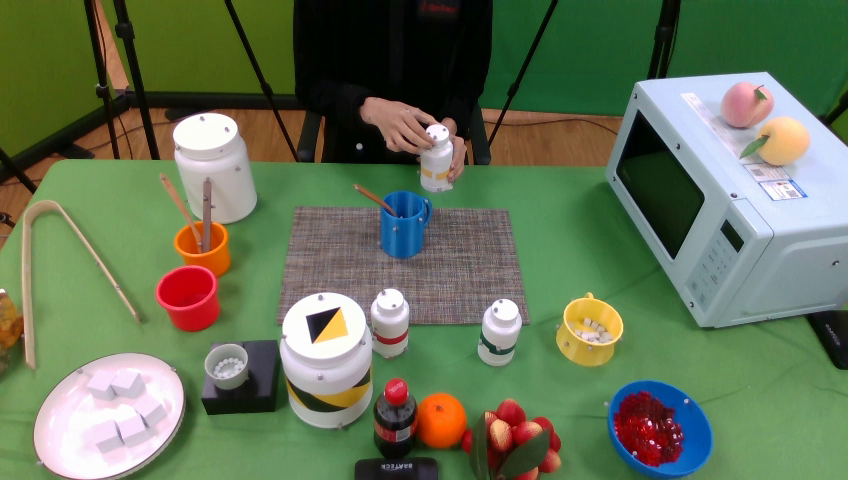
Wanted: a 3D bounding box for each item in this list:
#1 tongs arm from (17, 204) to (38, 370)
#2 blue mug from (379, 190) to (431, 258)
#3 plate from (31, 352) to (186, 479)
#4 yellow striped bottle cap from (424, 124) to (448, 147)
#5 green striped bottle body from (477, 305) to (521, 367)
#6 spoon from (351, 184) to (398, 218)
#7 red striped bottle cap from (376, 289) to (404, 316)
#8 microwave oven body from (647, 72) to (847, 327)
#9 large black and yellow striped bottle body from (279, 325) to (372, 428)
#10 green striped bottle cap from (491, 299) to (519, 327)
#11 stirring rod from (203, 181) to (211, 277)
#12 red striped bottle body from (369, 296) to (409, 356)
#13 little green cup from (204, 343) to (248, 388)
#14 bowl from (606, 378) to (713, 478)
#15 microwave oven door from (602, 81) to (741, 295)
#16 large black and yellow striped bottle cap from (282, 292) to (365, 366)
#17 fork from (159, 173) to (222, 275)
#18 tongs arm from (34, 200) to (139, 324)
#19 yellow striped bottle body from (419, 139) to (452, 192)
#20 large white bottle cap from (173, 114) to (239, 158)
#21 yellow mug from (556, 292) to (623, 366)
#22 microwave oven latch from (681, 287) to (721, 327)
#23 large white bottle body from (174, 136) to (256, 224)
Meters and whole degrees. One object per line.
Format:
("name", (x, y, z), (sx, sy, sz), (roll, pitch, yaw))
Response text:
("tongs arm", (-0.698, 0.069, 1.068), (0.028, 0.028, 0.385), (-20, 50, -13))
("blue mug", (-0.032, -0.037, 1.169), (0.116, 0.106, 0.082), (-29, 55, -28))
("plate", (-0.459, 0.262, 0.898), (0.209, 0.038, 0.208), (2, 46, -2))
("yellow striped bottle cap", (0.023, -0.192, 1.117), (0.044, 0.019, 0.044), (1, 54, -1))
("green striped bottle body", (0.124, 0.151, 0.995), (0.063, 0.120, 0.063), (2, 46, -1))
("spoon", (-0.070, -0.056, 1.124), (0.021, 0.195, 0.041), (-34, 47, 13))
("red striped bottle cap", (-0.054, 0.098, 0.958), (0.044, 0.018, 0.044), (0, 48, 0))
("microwave oven body", (0.607, -0.089, 1.164), (0.326, 0.261, 0.438), (-7, 46, -10))
("large black and yellow striped bottle body", (-0.143, 0.181, 0.900), (0.131, 0.185, 0.130), (2, 46, -2))
("green striped bottle cap", (0.128, 0.115, 0.958), (0.044, 0.020, 0.044), (1, 46, 0))
("stirring rod", (-0.396, -0.021, 1.107), (0.014, 0.006, 0.176), (-1, 89, -1))
("red striped bottle body", (-0.058, 0.134, 0.997), (0.063, 0.120, 0.062), (4, 47, -4))
("little green cup", (-0.294, 0.190, 0.909), (0.061, 0.039, 0.061), (1, 48, -1))
("bowl", (0.340, 0.292, 0.906), (0.151, 0.077, 0.150), (2, 46, -2))
("microwave oven door", (0.456, -0.107, 1.162), (0.039, 0.245, 0.353), (-7, 47, -11))
("large black and yellow striped bottle cap", (-0.138, 0.121, 0.841), (0.115, 0.019, 0.114), (3, 47, -3))
("fork", (-0.427, -0.029, 1.103), (0.028, 0.018, 0.207), (-31, 99, -30))
("tongs arm", (-0.622, 0.034, 1.105), (0.051, 0.026, 0.382), (-32, 55, -26))
("yellow striped bottle body", (0.022, -0.154, 1.164), (0.063, 0.121, 0.062), (0, 50, 0))
("large white bottle cap", (-0.403, -0.195, 1.122), (0.115, 0.018, 0.114), (2, 47, -2))
("yellow mug", (0.285, 0.145, 1.051), (0.100, 0.064, 0.130), (7, 45, 3))
("microwave oven latch", (0.494, 0.119, 1.087), (0.030, 0.029, 0.078), (-6, 46, -9))
("large white bottle body", (-0.408, -0.137, 1.183), (0.131, 0.185, 0.130), (2, 46, -2))
